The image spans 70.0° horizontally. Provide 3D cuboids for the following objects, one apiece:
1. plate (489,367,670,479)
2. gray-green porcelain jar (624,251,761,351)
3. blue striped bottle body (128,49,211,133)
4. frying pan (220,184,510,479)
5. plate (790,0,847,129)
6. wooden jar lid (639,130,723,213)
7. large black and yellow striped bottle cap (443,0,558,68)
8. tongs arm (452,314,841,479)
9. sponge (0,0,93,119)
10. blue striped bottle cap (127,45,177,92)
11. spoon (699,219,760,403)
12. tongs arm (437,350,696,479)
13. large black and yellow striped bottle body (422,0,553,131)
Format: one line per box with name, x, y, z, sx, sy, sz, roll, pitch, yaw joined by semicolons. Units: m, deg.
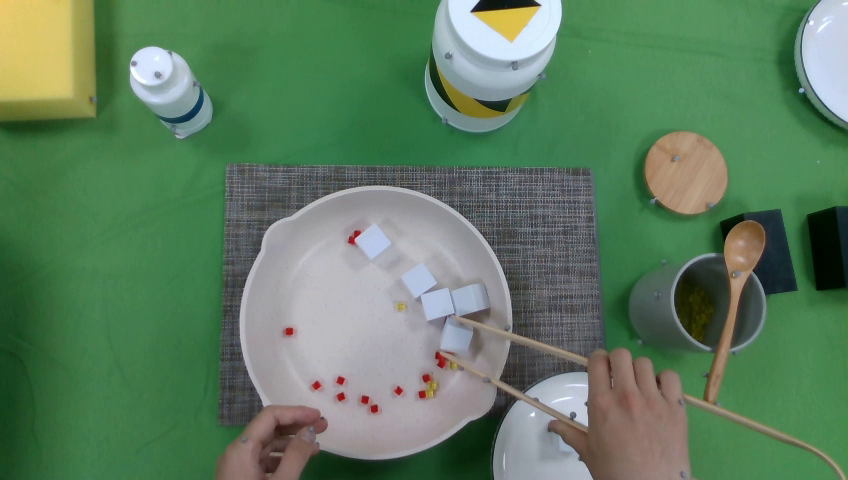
plate;0.175;0.250;0.696;0.208;0.039;0.207;1;83;-6
gray-green porcelain jar;0.297;0.073;0.692;0.106;0.126;0.105;1;81;-5
blue striped bottle body;-0.283;-0.168;0.673;0.063;0.121;0.063;1;80;-5
frying pan;-0.118;0.161;0.645;0.306;0.103;0.487;40;72;2
plate;0.586;-0.239;0.812;0.209;0.038;0.208;1;81;-5
wooden jar lid;0.325;-0.086;0.773;0.108;0.021;0.108;1;83;-5
large black and yellow striped bottle cap;0.077;-0.229;0.602;0.115;0.019;0.114;1;83;-5
tongs arm;0.175;0.136;0.562;0.384;0.028;0.028;18;76;40
sponge;-0.458;-0.249;0.698;0.118;0.061;0.206;-5;83;-7
blue striped bottle cap;-0.280;-0.177;0.623;0.044;0.020;0.044;1;83;-6
spoon;0.308;0.072;0.622;0.042;0.021;0.193;16;84;-6
tongs arm;0.164;0.161;0.558;0.381;0.027;0.050;22;82;41
large black and yellow striped bottle body;0.068;-0.214;0.684;0.131;0.184;0.130;1;80;-5
